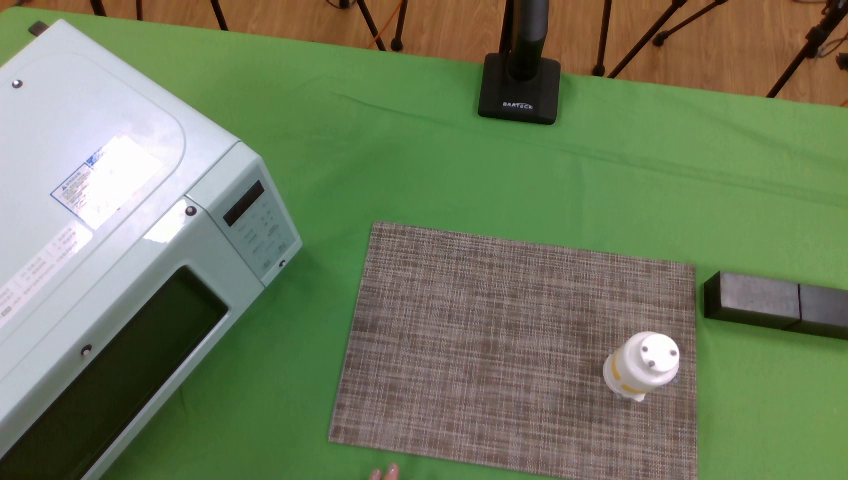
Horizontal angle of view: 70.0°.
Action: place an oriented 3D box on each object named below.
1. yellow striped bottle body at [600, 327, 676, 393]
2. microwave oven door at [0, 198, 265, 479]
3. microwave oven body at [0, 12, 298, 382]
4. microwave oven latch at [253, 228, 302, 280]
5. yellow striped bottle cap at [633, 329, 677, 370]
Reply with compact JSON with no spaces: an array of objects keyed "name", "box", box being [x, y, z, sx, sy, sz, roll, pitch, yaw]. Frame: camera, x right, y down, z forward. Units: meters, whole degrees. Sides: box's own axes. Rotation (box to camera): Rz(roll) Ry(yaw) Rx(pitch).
[{"name":"yellow striped bottle body","box":[0.257,0.143,0.725,0.063,0.121,0.062,0,67,0]},{"name":"microwave oven door","box":[-0.328,0.137,0.642,0.039,0.245,0.355,34,71,13]},{"name":"microwave oven body","box":[-0.421,0.028,0.691,0.324,0.262,0.440,34,72,12]},{"name":"microwave oven latch","box":[-0.197,0.014,0.803,0.030,0.030,0.079,36,73,13]},{"name":"yellow striped bottle cap","box":[0.258,0.122,0.676,0.044,0.019,0.044,0,69,1]}]
